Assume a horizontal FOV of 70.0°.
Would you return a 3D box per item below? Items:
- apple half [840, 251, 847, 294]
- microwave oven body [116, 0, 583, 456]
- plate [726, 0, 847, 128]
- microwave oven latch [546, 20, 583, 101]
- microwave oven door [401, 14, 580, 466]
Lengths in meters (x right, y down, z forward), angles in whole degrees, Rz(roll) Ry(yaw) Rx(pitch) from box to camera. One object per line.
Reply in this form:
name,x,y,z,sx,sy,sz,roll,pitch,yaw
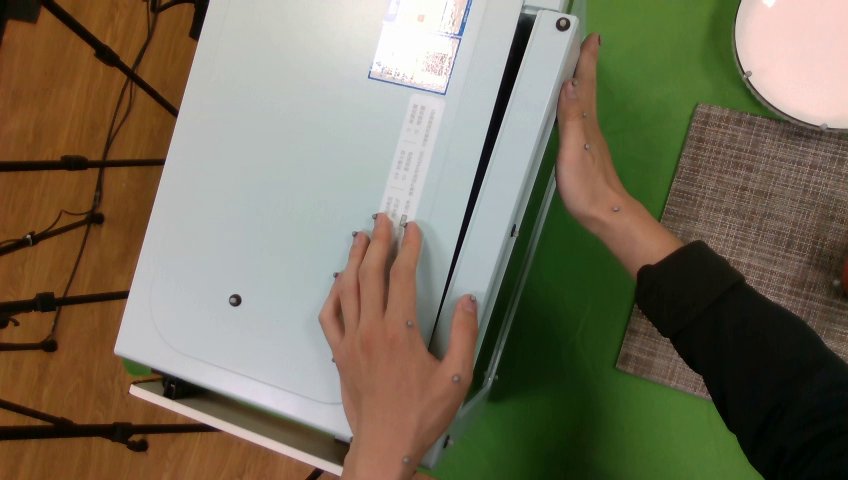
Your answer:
apple half,0.427,0.032,0.574,0.053,0.075,0.080,-4,89,20
microwave oven body,-0.057,-0.070,0.608,0.325,0.261,0.441,15,91,14
plate,0.418,-0.213,0.615,0.207,0.039,0.207,-1,86,14
microwave oven latch,0.153,-0.195,0.663,0.030,0.029,0.079,15,91,14
microwave oven door,0.074,0.009,0.565,0.039,0.245,0.355,18,91,16
